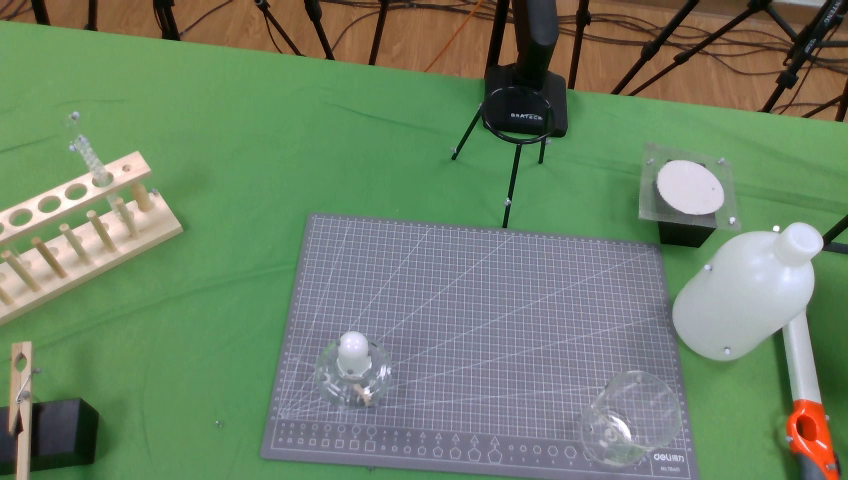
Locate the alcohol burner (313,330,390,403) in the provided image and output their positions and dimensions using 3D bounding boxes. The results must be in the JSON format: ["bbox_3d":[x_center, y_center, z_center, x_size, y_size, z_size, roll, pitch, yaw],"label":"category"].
[{"bbox_3d":[-0.072,0.119,0.604,0.078,0.120,0.077,4,57,-5],"label":"alcohol burner"}]

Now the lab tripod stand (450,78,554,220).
[{"bbox_3d":[0.104,-0.120,0.757,0.148,0.132,0.147,3,60,-5],"label":"lab tripod stand"}]

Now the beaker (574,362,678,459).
[{"bbox_3d":[0.193,0.174,0.605,0.084,0.101,0.073,2,58,-3],"label":"beaker"}]

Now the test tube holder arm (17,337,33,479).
[{"bbox_3d":[-0.362,0.170,0.547,0.013,0.015,0.176,-9,61,-21],"label":"test tube holder arm"}]

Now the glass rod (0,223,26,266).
[{"bbox_3d":[-0.437,-0.035,0.602,0.008,0.201,0.008,4,49,-5],"label":"glass rod"}]

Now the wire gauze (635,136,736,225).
[{"bbox_3d":[0.330,-0.076,0.769,0.121,0.011,0.124,12,58,2],"label":"wire gauze"}]

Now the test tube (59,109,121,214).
[{"bbox_3d":[-0.355,-0.079,0.655,0.017,0.151,0.017,1,53,-1],"label":"test tube"}]

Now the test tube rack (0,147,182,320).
[{"bbox_3d":[-0.404,-0.002,0.664,0.242,0.086,0.066,-32,67,-22],"label":"test tube rack"}]

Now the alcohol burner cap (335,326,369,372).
[{"bbox_3d":[-0.069,0.101,0.573,0.034,0.048,0.033,2,53,-2],"label":"alcohol burner cap"}]

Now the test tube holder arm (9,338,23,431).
[{"bbox_3d":[-0.381,0.134,0.566,0.010,0.015,0.087,-9,60,-21],"label":"test tube holder arm"}]

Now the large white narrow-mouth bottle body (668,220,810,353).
[{"bbox_3d":[0.344,0.042,0.647,0.102,0.196,0.101,2,58,-3],"label":"large white narrow-mouth bottle body"}]

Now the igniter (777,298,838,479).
[{"bbox_3d":[0.419,0.181,0.669,0.057,0.025,0.274,17,58,-8],"label":"igniter"}]

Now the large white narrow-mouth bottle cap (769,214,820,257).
[{"bbox_3d":[0.350,-0.005,0.575,0.038,0.024,0.037,2,58,-3],"label":"large white narrow-mouth bottle cap"}]
